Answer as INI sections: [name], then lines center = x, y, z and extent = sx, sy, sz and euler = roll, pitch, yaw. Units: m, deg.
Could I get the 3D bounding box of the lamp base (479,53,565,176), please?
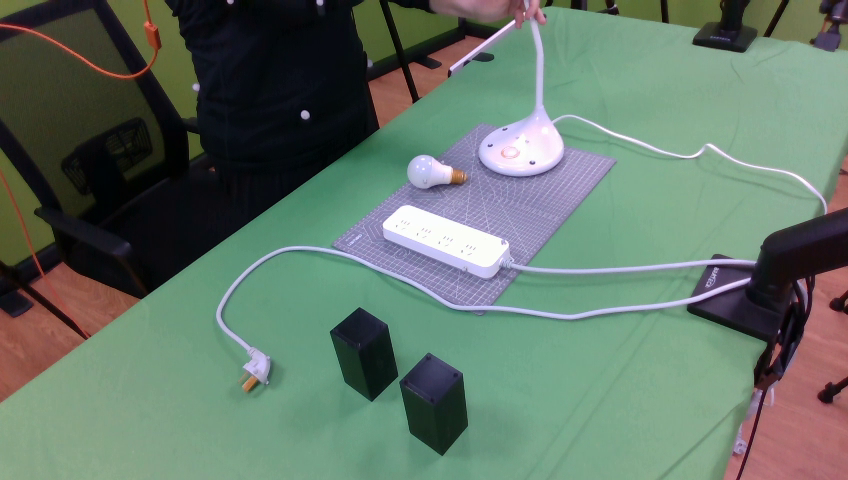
[lamp base]
center = 0.181, -0.235, 1.093
extent = 0.159, 0.181, 0.179
euler = 18, 44, 27

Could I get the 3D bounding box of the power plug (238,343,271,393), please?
[power plug]
center = -0.230, 0.172, 0.801
extent = 0.072, 0.035, 0.053
euler = 9, 51, 50

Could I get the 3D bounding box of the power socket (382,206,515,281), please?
[power socket]
center = 0.032, 0.002, 0.950
extent = 0.225, 0.033, 0.072
euler = 21, 49, 29

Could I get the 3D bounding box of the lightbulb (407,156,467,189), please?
[lightbulb]
center = 0.023, -0.117, 1.081
extent = 0.108, 0.059, 0.059
euler = 7, 40, -7
